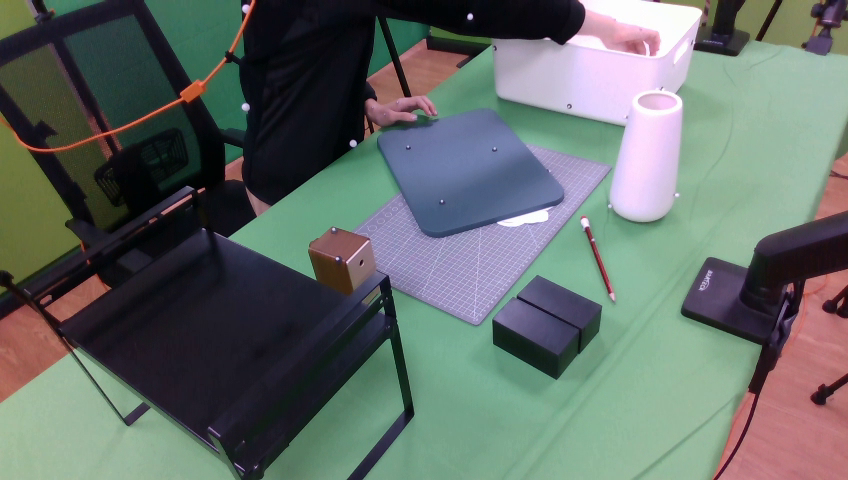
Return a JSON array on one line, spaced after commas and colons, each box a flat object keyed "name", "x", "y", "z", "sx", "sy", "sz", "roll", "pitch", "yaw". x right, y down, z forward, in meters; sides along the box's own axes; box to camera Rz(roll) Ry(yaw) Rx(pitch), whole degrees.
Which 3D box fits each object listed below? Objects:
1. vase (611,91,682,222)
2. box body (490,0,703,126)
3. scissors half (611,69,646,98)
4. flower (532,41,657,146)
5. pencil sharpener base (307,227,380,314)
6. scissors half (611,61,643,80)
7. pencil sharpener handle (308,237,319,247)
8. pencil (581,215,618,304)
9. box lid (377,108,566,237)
[{"name": "vase", "x": 0.348, "y": -0.125, "z": 0.935, "sx": 0.098, "sy": 0.201, "sz": 0.097, "roll": -3, "pitch": 40, "yaw": 3}, {"name": "box body", "x": 0.352, "y": -0.385, "z": 1.268, "sx": 0.361, "sy": 0.161, "sz": 0.255, "roll": 21, "pitch": 48, "yaw": 29}, {"name": "scissors half", "x": 0.435, "y": -0.343, "z": 1.301, "sx": 0.013, "sy": 0.040, "sz": 0.174, "roll": -13, "pitch": 32, "yaw": 1}, {"name": "flower", "x": 0.370, "y": -0.320, "z": 1.323, "sx": 0.038, "sy": 0.044, "sz": 0.359, "roll": -16, "pitch": 56, "yaw": -49}, {"name": "pencil sharpener base", "x": -0.116, "y": 0.043, "z": 0.875, "sx": 0.076, "sy": 0.107, "sz": 0.061, "roll": 18, "pitch": 47, "yaw": 27}, {"name": "scissors half", "x": 0.429, "y": -0.361, "z": 1.293, "sx": 0.013, "sy": 0.040, "sz": 0.174, "roll": -19, "pitch": 13, "yaw": 2}, {"name": "pencil sharpener handle", "x": -0.158, "y": 0.017, "z": 0.892, "sx": 0.030, "sy": 0.068, "sz": 0.036, "roll": 18, "pitch": 62, "yaw": 28}, {"name": "pencil", "x": 0.266, "y": 0.026, "z": 0.917, "sx": 0.012, "sy": 0.012, "sz": 0.193, "roll": -6, "pitch": 42, "yaw": 1}, {"name": "box lid", "x": 0.074, "y": -0.140, "z": 1.137, "sx": 0.264, "sy": 0.015, "sz": 0.368, "roll": -16, "pitch": 40, "yaw": -10}]
